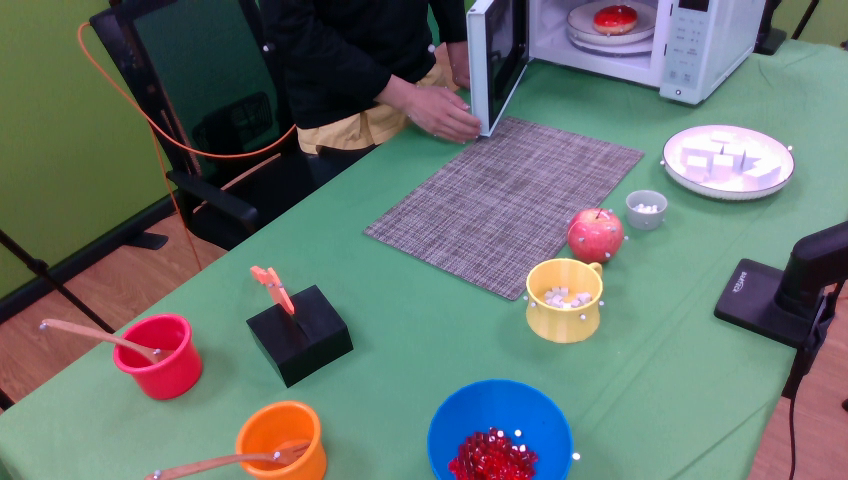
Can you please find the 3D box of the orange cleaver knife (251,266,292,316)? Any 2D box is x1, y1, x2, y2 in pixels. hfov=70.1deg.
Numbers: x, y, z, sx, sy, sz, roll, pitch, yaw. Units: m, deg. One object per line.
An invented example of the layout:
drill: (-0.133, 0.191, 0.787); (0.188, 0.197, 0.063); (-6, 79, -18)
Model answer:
orange cleaver knife: (-0.221, 0.071, 0.873); (0.012, 0.077, 0.210); (-25, 11, -21)

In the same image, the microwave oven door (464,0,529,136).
microwave oven door: (0.157, -0.409, 1.235); (0.039, 0.245, 0.355); (9, 43, 19)

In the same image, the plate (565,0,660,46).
plate: (0.427, -0.489, 1.376); (0.209, 0.038, 0.208); (-5, 40, 4)

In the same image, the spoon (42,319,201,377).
spoon: (-0.385, 0.135, 0.779); (0.195, 0.021, 0.041); (29, 37, -26)

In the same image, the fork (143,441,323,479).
fork: (-0.189, 0.231, 0.631); (0.028, 0.018, 0.209); (35, 13, 37)

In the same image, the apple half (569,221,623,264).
apple half: (0.251, 0.010, 0.884); (0.081, 0.081, 0.032); (3, 37, 13)

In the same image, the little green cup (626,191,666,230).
little green cup: (0.352, -0.046, 0.963); (0.061, 0.039, 0.061); (-4, 40, 4)

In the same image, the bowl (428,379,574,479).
bowl: (0.082, 0.233, 0.644); (0.151, 0.077, 0.150); (-4, 39, 4)

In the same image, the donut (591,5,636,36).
donut: (0.426, -0.497, 1.365); (0.099, 0.048, 0.098); (-3, 42, 3)

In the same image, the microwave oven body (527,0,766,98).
microwave oven body: (0.472, -0.513, 1.317); (0.438, 0.261, 0.327); (25, 51, 34)

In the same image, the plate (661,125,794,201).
plate: (0.513, -0.128, 1.035); (0.207, 0.039, 0.206); (-4, 40, 4)

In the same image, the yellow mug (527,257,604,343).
yellow mug: (0.201, 0.072, 0.825); (0.131, 0.064, 0.099); (-32, 47, -27)

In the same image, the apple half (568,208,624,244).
apple half: (0.259, -0.014, 0.914); (0.080, 0.075, 0.053); (0, 36, 15)

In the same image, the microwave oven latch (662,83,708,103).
microwave oven latch: (0.517, -0.296, 1.204); (0.078, 0.029, 0.030); (27, 52, 35)
